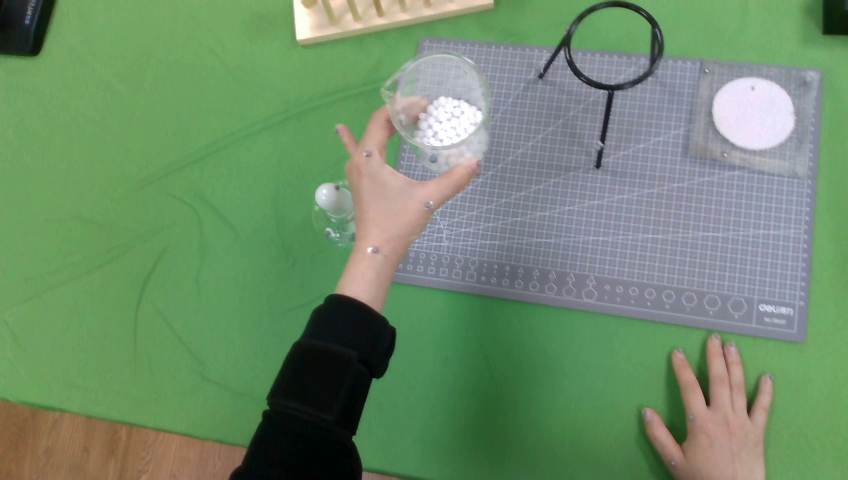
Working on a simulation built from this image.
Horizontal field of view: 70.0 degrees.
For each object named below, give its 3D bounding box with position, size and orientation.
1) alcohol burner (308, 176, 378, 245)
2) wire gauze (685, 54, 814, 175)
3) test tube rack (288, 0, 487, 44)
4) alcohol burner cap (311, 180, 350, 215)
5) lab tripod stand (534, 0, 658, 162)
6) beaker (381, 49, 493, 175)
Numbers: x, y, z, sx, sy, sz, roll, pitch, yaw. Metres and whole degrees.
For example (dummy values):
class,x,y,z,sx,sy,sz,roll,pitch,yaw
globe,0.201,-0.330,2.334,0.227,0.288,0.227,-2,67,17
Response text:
class,x,y,z,sx,sy,sz,roll,pitch,yaw
alcohol burner,-0.091,-0.037,0.648,0.078,0.120,0.077,-1,77,7
wire gauze,0.352,-0.140,0.656,0.125,0.011,0.121,12,81,8
test tube rack,-0.052,-0.303,0.708,0.242,0.085,0.066,-9,78,6
alcohol burner cap,-0.097,-0.045,0.613,0.034,0.048,0.033,-1,82,7
lab tripod stand,0.181,-0.169,0.621,0.148,0.132,0.148,-1,80,7
beaker,0.014,-0.096,0.482,0.084,0.100,0.074,14,85,9
